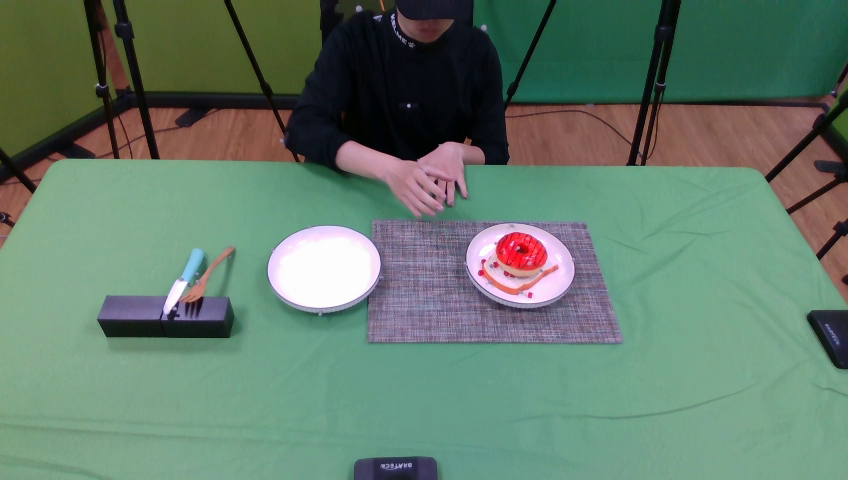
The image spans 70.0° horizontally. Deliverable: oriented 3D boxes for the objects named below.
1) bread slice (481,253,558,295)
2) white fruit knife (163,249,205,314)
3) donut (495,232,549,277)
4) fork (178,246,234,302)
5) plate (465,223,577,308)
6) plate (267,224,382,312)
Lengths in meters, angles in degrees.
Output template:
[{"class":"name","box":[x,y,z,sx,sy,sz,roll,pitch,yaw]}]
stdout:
[{"class":"bread slice","box":[0.177,0.050,1.148,0.131,0.019,0.104,-32,55,-31]},{"class":"white fruit knife","box":[-0.420,0.070,1.063,0.027,0.016,0.206,-2,29,-2]},{"class":"donut","box":[0.180,0.026,1.119,0.099,0.048,0.098,2,46,-2]},{"class":"fork","box":[-0.380,0.057,1.075,0.028,0.019,0.206,2,28,6]},{"class":"plate","box":[0.180,0.051,1.144,0.209,0.038,0.208,2,45,-2]},{"class":"plate","box":[-0.182,0.055,1.120,0.208,0.039,0.206,2,46,-2]}]
